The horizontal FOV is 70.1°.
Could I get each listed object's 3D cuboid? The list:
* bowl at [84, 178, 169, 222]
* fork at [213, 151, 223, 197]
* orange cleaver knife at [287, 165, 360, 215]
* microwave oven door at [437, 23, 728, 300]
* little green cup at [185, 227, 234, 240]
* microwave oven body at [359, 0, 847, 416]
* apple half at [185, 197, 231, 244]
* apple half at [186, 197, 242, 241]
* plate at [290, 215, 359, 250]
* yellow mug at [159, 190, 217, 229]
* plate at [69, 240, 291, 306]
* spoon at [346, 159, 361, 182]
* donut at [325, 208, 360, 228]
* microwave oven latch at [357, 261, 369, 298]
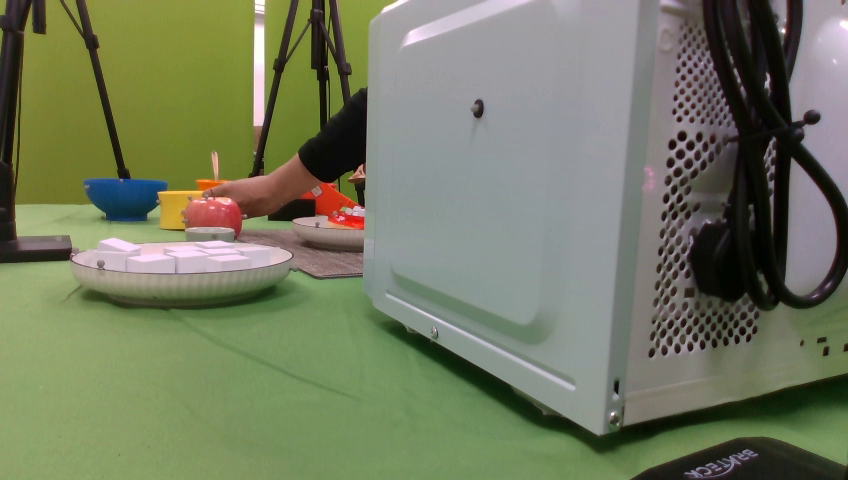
[{"bbox_3d":[-0.584,-0.078,1.193,0.151,0.077,0.151,3,8,0],"label":"bowl"},{"bbox_3d":[-0.494,-0.143,1.442,0.028,0.018,0.206,-2,52,-20],"label":"fork"},{"bbox_3d":[-0.211,-0.092,1.382,0.212,0.077,0.012,34,1,-15],"label":"orange cleaver knife"},{"bbox_3d":[0.180,-0.072,0.621,0.358,0.243,0.039,-2,9,-29],"label":"microwave oven door"},{"bbox_3d":[-0.285,0.005,0.805,0.061,0.038,0.061,3,8,0],"label":"little green cup"},{"bbox_3d":[0.211,-0.047,0.474,0.444,0.260,0.324,-1,7,-28],"label":"microwave oven body"},{"bbox_3d":[-0.337,-0.031,0.927,0.032,0.081,0.082,13,12,37],"label":"apple half"},{"bbox_3d":[-0.307,-0.026,0.904,0.053,0.074,0.081,14,9,37],"label":"apple half"},{"bbox_3d":[-0.110,-0.014,0.973,0.209,0.038,0.209,3,8,0],"label":"plate"},{"bbox_3d":[-0.417,-0.056,1.103,0.130,0.064,0.100,4,8,27],"label":"yellow mug"},{"bbox_3d":[-0.242,0.032,0.618,0.208,0.039,0.207,3,8,0],"label":"plate"},{"bbox_3d":[-0.140,-0.166,1.349,0.041,0.021,0.193,-8,27,9],"label":"spoon"},{"bbox_3d":[-0.110,-0.025,0.974,0.099,0.048,0.099,5,7,0],"label":"donut"},{"bbox_3d":[-0.019,0.033,0.530,0.079,0.029,0.030,-1,7,-26],"label":"microwave oven latch"}]
